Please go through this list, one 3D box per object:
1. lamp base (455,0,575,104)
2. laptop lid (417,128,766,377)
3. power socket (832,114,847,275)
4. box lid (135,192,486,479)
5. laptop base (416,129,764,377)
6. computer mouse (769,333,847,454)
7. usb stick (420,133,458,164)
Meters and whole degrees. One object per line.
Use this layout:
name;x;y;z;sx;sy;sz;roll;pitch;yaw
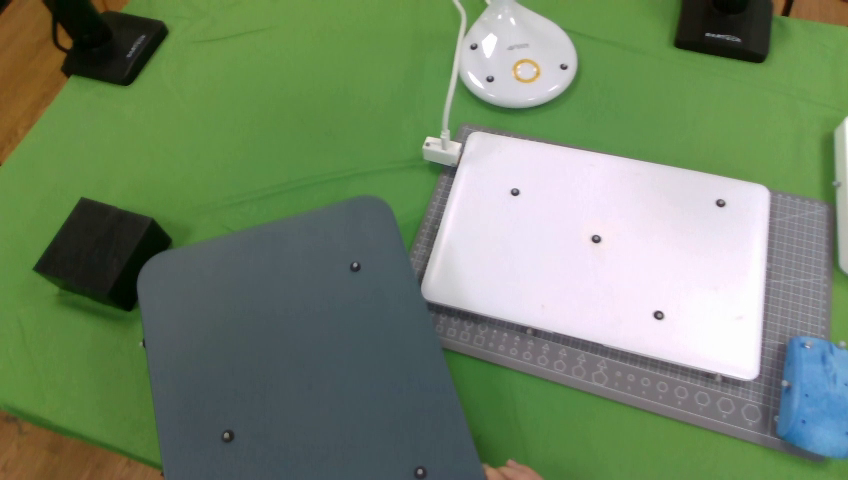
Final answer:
lamp base;0.112;-0.294;0.757;0.161;0.182;0.177;-20;60;-7
laptop lid;0.188;-0.001;0.674;0.355;0.013;0.240;14;67;11
power socket;0.505;-0.052;0.684;0.072;0.033;0.225;13;64;9
box lid;-0.111;0.134;0.552;0.263;0.015;0.368;-17;66;-8
laptop base;0.190;0.002;0.686;0.353;0.023;0.234;13;67;10
computer mouse;0.376;0.144;0.584;0.062;0.041;0.116;18;61;15
usb stick;0.025;-0.110;0.742;0.059;0.027;0.021;18;59;9
